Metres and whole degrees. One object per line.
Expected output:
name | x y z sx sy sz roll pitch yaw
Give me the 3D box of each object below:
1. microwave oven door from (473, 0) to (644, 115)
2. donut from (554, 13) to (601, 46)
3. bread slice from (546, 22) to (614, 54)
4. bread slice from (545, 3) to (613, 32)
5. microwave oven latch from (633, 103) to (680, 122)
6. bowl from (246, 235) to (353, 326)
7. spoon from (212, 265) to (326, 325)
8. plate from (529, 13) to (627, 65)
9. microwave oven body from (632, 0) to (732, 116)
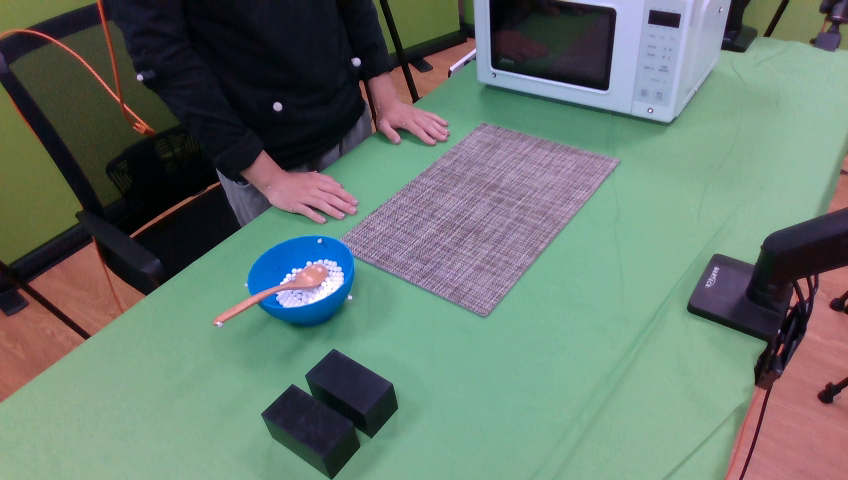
microwave oven door | 0.257 -0.396 1.199 0.353 0.245 0.039 21 48 29
donut | 0.328 -0.452 1.296 0.099 0.048 0.098 -5 46 6
bread slice | 0.340 -0.440 1.311 0.135 0.018 0.106 -11 48 -10
bread slice | 0.331 -0.474 1.281 0.131 0.019 0.104 -10 38 0
microwave oven latch | 0.444 -0.249 1.157 0.078 0.029 0.030 20 48 30
bowl | -0.170 0.070 0.868 0.151 0.077 0.150 -4 41 4
spoon | -0.208 0.072 0.822 0.041 0.021 0.195 27 29 27
plate | 0.333 -0.434 1.317 0.207 0.039 0.206 -5 43 5
microwave oven body | 0.377 -0.462 1.267 0.438 0.261 0.327 21 48 30
